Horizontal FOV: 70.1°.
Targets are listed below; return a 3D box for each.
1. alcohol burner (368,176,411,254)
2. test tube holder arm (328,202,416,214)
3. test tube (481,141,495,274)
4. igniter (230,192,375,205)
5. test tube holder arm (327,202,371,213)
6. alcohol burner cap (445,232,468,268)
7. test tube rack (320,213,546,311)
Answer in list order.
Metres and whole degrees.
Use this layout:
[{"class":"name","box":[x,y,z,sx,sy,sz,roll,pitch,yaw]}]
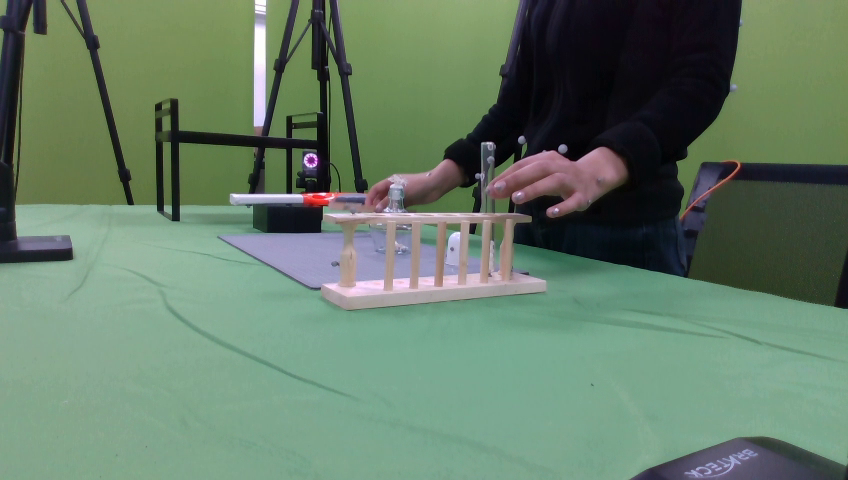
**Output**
[{"class":"alcohol burner","box":[-0.045,-0.038,0.913,0.078,0.119,0.078,5,7,0]},{"class":"test tube holder arm","box":[-0.093,-0.057,1.119,0.179,0.015,0.013,2,3,-32]},{"class":"test tube","box":[0.073,-0.036,0.686,0.017,0.150,0.017,0,4,0]},{"class":"igniter","box":[-0.226,-0.079,1.161,0.278,0.025,0.057,-2,15,-28]},{"class":"test tube holder arm","box":[-0.135,-0.059,1.100,0.088,0.015,0.010,2,3,-31]},{"class":"alcohol burner cap","box":[0.045,0.013,0.829,0.034,0.048,0.034,3,8,0]},{"class":"test tube rack","box":[0.017,0.017,0.638,0.244,0.085,0.066,-1,8,-31]}]
